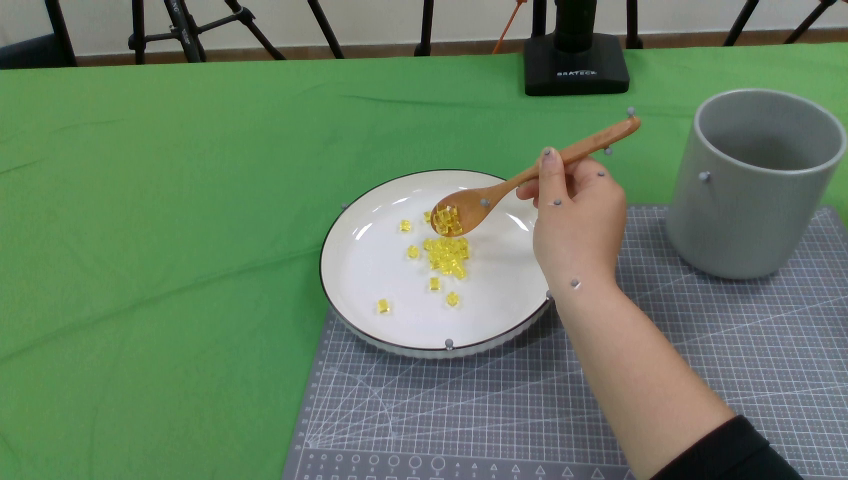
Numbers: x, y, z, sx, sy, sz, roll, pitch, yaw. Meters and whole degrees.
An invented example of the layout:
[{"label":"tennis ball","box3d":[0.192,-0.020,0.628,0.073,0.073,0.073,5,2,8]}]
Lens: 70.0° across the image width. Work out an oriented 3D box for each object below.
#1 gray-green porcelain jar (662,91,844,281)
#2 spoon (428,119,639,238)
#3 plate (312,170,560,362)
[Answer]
[{"label":"gray-green porcelain jar","box3d":[0.255,-0.038,0.489,0.106,0.128,0.105,-3,46,4]},{"label":"spoon","box3d":[0.081,-0.048,0.489,0.193,0.022,0.041,-27,65,35]},{"label":"plate","box3d":[0.011,0.021,0.522,0.207,0.039,0.205,-3,46,3]}]
